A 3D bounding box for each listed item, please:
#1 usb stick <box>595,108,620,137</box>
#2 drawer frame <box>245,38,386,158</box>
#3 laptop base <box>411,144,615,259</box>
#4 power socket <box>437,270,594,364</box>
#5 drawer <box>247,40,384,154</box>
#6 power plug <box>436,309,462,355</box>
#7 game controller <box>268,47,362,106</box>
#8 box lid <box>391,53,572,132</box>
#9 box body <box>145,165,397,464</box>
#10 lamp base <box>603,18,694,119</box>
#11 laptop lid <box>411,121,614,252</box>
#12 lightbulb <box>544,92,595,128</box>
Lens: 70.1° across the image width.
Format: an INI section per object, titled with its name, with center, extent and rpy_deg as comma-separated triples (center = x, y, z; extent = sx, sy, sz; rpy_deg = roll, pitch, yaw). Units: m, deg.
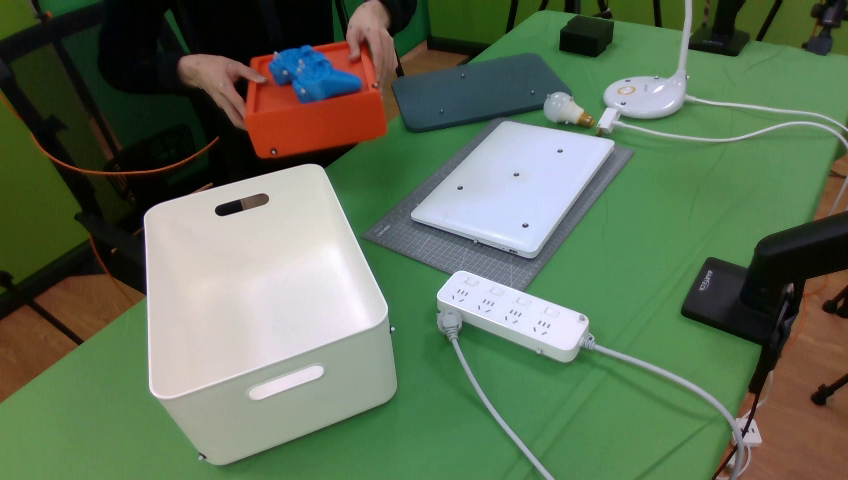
[usb stick]
center = 0.355, -0.226, 1.175
extent = 0.027, 0.022, 0.059
rpy_deg = 29, 85, 40
[drawer frame]
center = -0.172, -0.233, 0.967
extent = 0.202, 0.083, 0.212
rpy_deg = -12, 41, -4
[laptop base]
center = 0.167, -0.102, 1.074
extent = 0.234, 0.023, 0.355
rpy_deg = 17, 45, 30
[power socket]
center = 0.118, 0.102, 0.830
extent = 0.225, 0.033, 0.072
rpy_deg = 20, 48, 28
[drawer]
center = -0.174, -0.233, 0.969
extent = 0.195, 0.073, 0.210
rpy_deg = -11, 41, -4
[power plug]
center = 0.032, 0.126, 0.809
extent = 0.035, 0.053, 0.072
rpy_deg = 3, 59, 7
[game controller]
center = -0.171, -0.254, 0.913
extent = 0.097, 0.052, 0.154
rpy_deg = -31, 44, -17
[box lid]
center = 0.122, -0.339, 1.366
extent = 0.372, 0.015, 0.261
rpy_deg = -12, 40, -5
[box body]
center = -0.205, 0.080, 0.802
extent = 0.255, 0.161, 0.361
rpy_deg = -18, 41, -12
[lamp base]
center = 0.460, -0.355, 1.205
extent = 0.179, 0.181, 0.160
rpy_deg = 2, 41, 7
[laptop lid]
center = 0.164, -0.112, 1.068
extent = 0.240, 0.013, 0.357
rpy_deg = 19, 46, 30
[lightbulb]
center = 0.293, -0.256, 1.215
extent = 0.107, 0.059, 0.059
rpy_deg = 30, 51, 16
